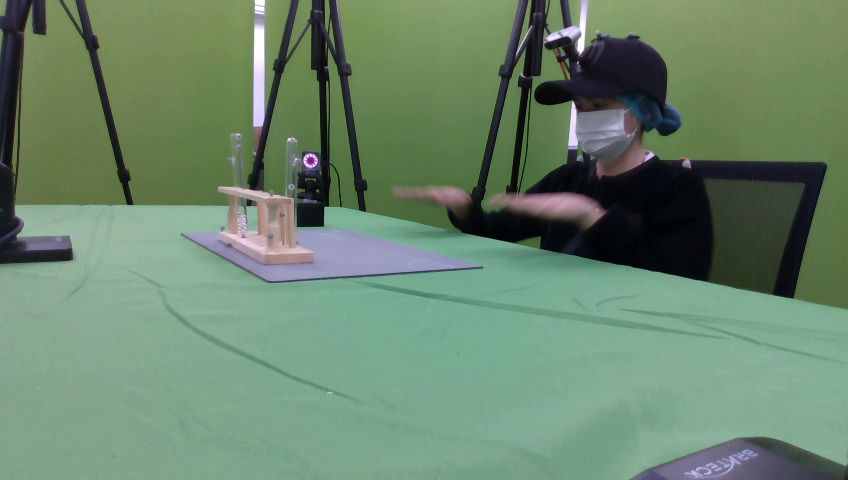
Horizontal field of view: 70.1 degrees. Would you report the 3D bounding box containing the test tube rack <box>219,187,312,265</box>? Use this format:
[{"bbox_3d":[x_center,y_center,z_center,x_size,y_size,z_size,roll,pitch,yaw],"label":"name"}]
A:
[{"bbox_3d":[-0.235,-0.027,0.872,0.067,0.085,0.241,-1,8,-31],"label":"test tube rack"}]

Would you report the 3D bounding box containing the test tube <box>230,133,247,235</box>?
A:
[{"bbox_3d":[-0.273,-0.081,0.893,0.017,0.150,0.017,-1,9,0],"label":"test tube"}]

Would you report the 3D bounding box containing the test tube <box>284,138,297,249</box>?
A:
[{"bbox_3d":[-0.181,-0.062,0.816,0.017,0.150,0.017,2,7,0],"label":"test tube"}]
